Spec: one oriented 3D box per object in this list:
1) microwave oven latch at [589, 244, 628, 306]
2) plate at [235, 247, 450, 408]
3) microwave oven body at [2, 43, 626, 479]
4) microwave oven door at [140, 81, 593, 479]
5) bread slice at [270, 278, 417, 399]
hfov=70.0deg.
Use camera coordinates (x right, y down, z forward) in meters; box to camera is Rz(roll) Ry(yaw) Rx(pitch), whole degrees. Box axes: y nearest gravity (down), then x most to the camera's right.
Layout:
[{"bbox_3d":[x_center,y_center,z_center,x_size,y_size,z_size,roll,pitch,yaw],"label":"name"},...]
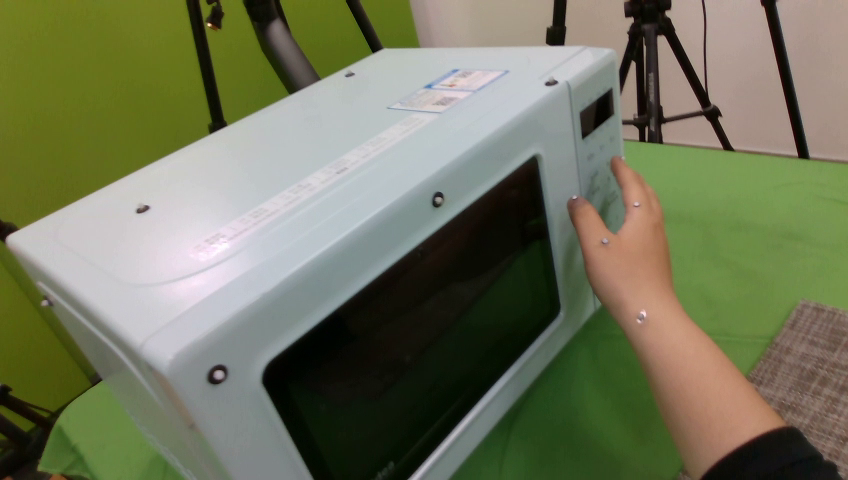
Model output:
[{"bbox_3d":[0.180,0.034,0.620,0.030,0.030,0.079,18,45,43],"label":"microwave oven latch"},{"bbox_3d":[-0.073,0.080,0.573,0.209,0.038,0.207,-13,31,8],"label":"plate"},{"bbox_3d":[-0.066,0.018,0.572,0.323,0.262,0.441,16,44,42],"label":"microwave oven body"},{"bbox_3d":[0.009,0.064,0.449,0.039,0.246,0.355,16,43,42],"label":"microwave oven door"},{"bbox_3d":[-0.074,0.083,0.579,0.131,0.019,0.104,-34,36,-23],"label":"bread slice"}]
